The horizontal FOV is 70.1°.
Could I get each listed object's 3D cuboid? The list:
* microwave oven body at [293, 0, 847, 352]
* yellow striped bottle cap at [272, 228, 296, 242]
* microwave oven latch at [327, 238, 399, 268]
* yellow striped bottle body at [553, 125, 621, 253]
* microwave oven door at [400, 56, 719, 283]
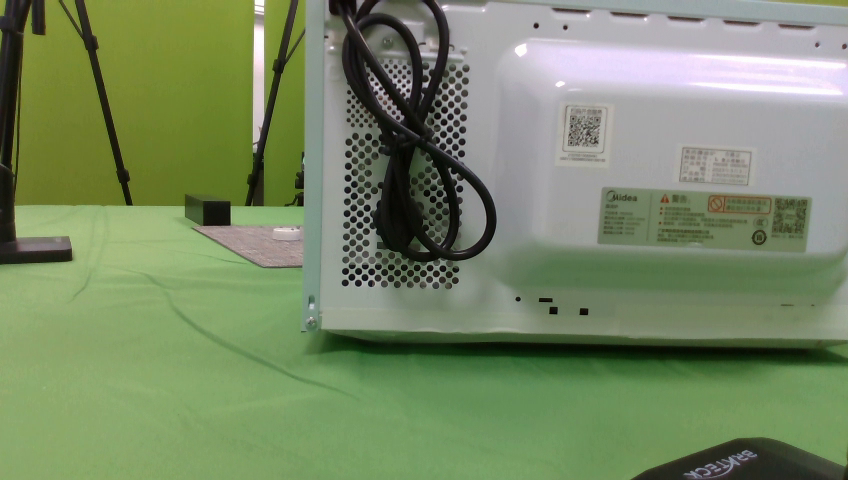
[{"bbox_3d":[0.122,-0.055,0.550,0.442,0.260,0.325,3,7,-5],"label":"microwave oven body"},{"bbox_3d":[-0.232,-0.008,1.012,0.044,0.018,0.044,3,9,0],"label":"yellow striped bottle cap"},{"bbox_3d":[-0.069,0.015,0.694,0.079,0.029,0.030,3,7,-3],"label":"microwave oven latch"},{"bbox_3d":[0.158,-0.050,0.587,0.063,0.120,0.063,0,5,0],"label":"yellow striped bottle body"},{"bbox_3d":[0.155,-0.077,0.698,0.356,0.243,0.039,2,8,-5],"label":"microwave oven door"}]
